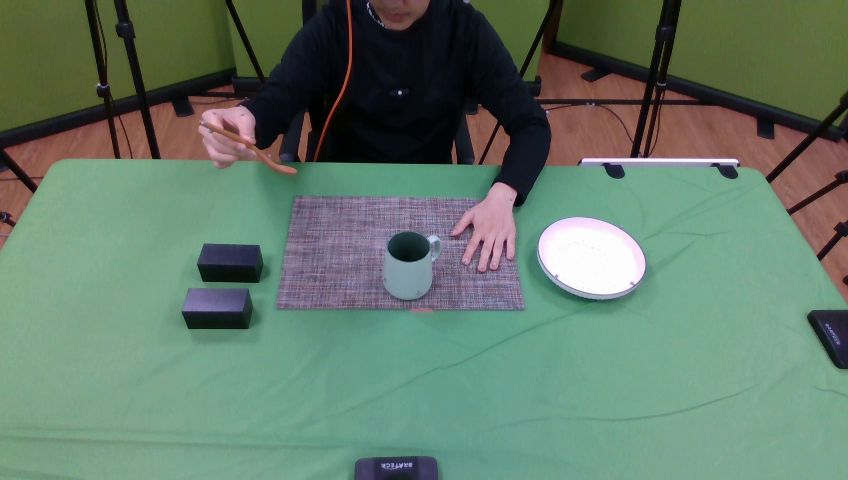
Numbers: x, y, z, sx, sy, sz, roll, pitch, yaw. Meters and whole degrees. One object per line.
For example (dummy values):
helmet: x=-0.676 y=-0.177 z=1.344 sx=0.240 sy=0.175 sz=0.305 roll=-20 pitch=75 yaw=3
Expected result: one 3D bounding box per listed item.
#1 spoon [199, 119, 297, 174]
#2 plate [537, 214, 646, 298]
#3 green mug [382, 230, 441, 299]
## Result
spoon: x=-0.271 y=-0.145 z=0.946 sx=0.041 sy=0.195 sz=0.021 roll=32 pitch=88 yaw=37
plate: x=0.321 y=0.035 z=1.176 sx=0.209 sy=0.038 sz=0.208 roll=2 pitch=47 yaw=-2
green mug: x=-0.017 y=0.037 z=1.097 sx=0.125 sy=0.105 sz=0.092 roll=-34 pitch=57 yaw=-31
